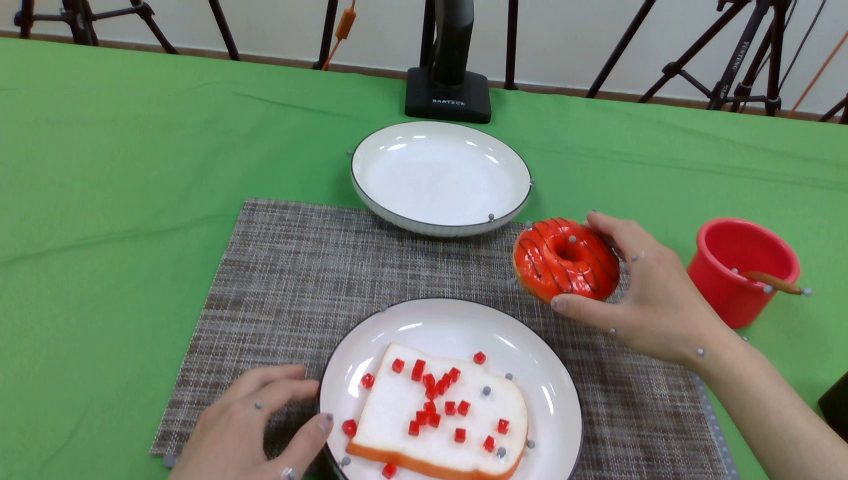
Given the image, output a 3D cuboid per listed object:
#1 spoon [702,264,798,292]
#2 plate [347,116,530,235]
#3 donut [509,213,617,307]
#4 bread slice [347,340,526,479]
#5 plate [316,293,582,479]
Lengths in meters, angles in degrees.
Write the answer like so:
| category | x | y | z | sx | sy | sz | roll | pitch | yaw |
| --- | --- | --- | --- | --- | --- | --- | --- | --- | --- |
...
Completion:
| category | x | y | z | sx | sy | sz | roll | pitch | yaw |
| --- | --- | --- | --- | --- | --- | --- | --- | --- | --- |
| spoon | 0.300 | 0.033 | 0.561 | 0.041 | 0.021 | 0.194 | 20 | 1 | 10 |
| plate | 0.015 | -0.072 | 0.697 | 0.208 | 0.039 | 0.205 | 5 | 42 | -4 |
| donut | 0.124 | 0.018 | 0.545 | 0.099 | 0.048 | 0.098 | 6 | 45 | -6 |
| bread slice | 0.016 | 0.135 | 0.484 | 0.131 | 0.019 | 0.104 | 13 | 44 | 6 |
| plate | 0.019 | 0.131 | 0.484 | 0.209 | 0.038 | 0.207 | 5 | 44 | -4 |
